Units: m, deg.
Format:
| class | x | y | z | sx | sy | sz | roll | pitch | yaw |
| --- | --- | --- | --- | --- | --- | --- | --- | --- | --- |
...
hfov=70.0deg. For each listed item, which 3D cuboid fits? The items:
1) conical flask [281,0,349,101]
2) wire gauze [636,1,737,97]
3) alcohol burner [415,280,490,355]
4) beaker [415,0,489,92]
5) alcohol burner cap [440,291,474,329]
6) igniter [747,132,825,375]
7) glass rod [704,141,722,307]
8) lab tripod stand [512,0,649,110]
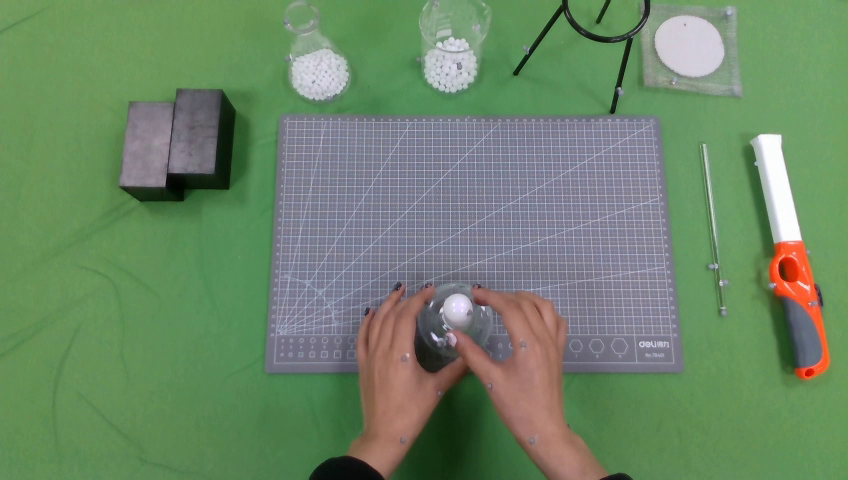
| class | x | y | z | sx | sy | sz | roll | pitch | yaw |
| --- | --- | --- | --- | --- | --- | --- | --- | --- | --- |
| conical flask | -0.127 | -0.213 | 0.672 | 0.075 | 0.122 | 0.075 | 0 | 76 | 0 |
| wire gauze | 0.323 | -0.239 | 0.745 | 0.125 | 0.011 | 0.121 | 5 | 78 | -2 |
| alcohol burner | 0.030 | 0.075 | 0.609 | 0.078 | 0.119 | 0.077 | 1 | 74 | -2 |
| beaker | 0.031 | -0.222 | 0.689 | 0.084 | 0.100 | 0.073 | -26 | 78 | -7 |
| alcohol burner cap | 0.031 | 0.064 | 0.575 | 0.034 | 0.048 | 0.033 | -1 | 71 | 4 |
| igniter | 0.404 | 0.010 | 0.677 | 0.057 | 0.025 | 0.275 | -1 | 77 | -12 |
| glass rod | 0.332 | -0.022 | 0.696 | 0.008 | 0.008 | 0.198 | 3 | 75 | 0 |
| lab tripod stand | 0.179 | -0.226 | 0.675 | 0.148 | 0.132 | 0.147 | 0 | 78 | 0 |
